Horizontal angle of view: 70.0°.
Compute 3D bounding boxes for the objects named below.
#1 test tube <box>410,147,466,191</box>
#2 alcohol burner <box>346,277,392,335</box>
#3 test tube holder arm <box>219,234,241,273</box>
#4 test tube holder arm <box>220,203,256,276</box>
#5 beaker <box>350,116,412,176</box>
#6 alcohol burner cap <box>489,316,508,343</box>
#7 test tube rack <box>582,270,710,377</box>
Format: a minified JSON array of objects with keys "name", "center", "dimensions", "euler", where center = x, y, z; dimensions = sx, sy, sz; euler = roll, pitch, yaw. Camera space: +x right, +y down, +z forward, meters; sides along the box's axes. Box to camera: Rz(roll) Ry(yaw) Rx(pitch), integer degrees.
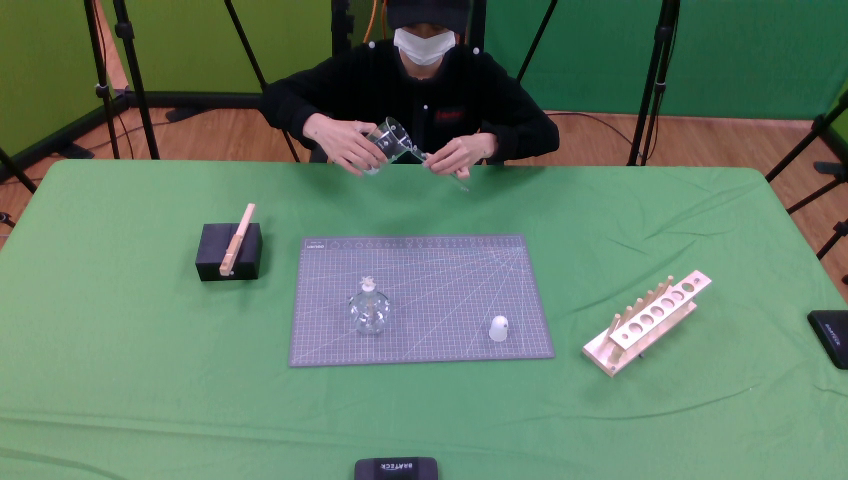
[{"name":"test tube","center":[0.030,-0.139,1.204],"dimensions":[0.151,0.017,0.017],"euler":[34,35,-32]},{"name":"alcohol burner","center":[-0.093,0.106,1.021],"dimensions":[0.078,0.120,0.077],"euler":[1,46,-1]},{"name":"test tube holder arm","center":[-0.344,0.023,1.076],"dimensions":[0.015,0.010,0.087],"euler":[5,45,1]},{"name":"test tube holder arm","center":[-0.340,-0.005,1.112],"dimensions":[0.015,0.013,0.177],"euler":[5,46,1]},{"name":"beaker","center":[-0.083,-0.175,1.163],"dimensions":[0.100,0.084,0.073],"euler":[-34,29,22]},{"name":"alcohol burner cap","center":[0.130,0.151,1.045],"dimensions":[0.034,0.048,0.033],"euler":[2,46,-2]},{"name":"test tube rack","center":[0.389,0.132,1.057],"dimensions":[0.242,0.085,0.066],"euler":[-28,53,-28]}]
